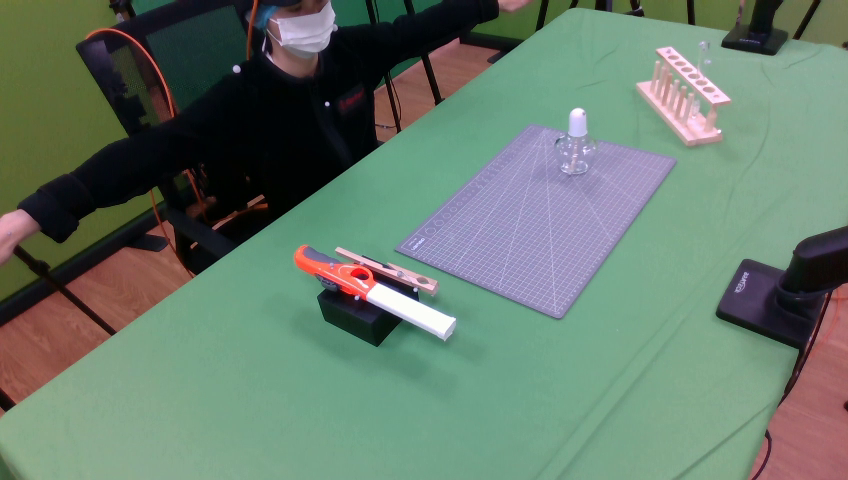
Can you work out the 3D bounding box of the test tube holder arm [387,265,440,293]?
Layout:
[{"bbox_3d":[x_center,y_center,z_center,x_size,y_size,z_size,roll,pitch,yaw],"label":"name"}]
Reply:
[{"bbox_3d":[-0.017,0.054,0.843,0.087,0.015,0.010,18,49,27],"label":"test tube holder arm"}]

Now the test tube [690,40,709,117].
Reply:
[{"bbox_3d":[0.510,-0.295,1.120,0.017,0.151,0.017,-6,39,6],"label":"test tube"}]

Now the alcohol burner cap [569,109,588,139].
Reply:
[{"bbox_3d":[0.266,-0.203,1.044,0.034,0.048,0.033,-7,36,5],"label":"alcohol burner cap"}]

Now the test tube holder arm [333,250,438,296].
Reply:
[{"bbox_3d":[-0.059,0.045,0.859,0.177,0.015,0.013,17,49,26],"label":"test tube holder arm"}]

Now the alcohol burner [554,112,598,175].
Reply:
[{"bbox_3d":[0.270,-0.175,1.066,0.078,0.119,0.077,-4,42,4],"label":"alcohol burner"}]

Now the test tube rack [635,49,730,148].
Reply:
[{"bbox_3d":[0.497,-0.283,1.185,0.067,0.085,0.240,-10,40,-2],"label":"test tube rack"}]

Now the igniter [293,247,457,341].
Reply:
[{"bbox_3d":[-0.077,0.068,0.830,0.274,0.025,0.057,22,48,27],"label":"igniter"}]
